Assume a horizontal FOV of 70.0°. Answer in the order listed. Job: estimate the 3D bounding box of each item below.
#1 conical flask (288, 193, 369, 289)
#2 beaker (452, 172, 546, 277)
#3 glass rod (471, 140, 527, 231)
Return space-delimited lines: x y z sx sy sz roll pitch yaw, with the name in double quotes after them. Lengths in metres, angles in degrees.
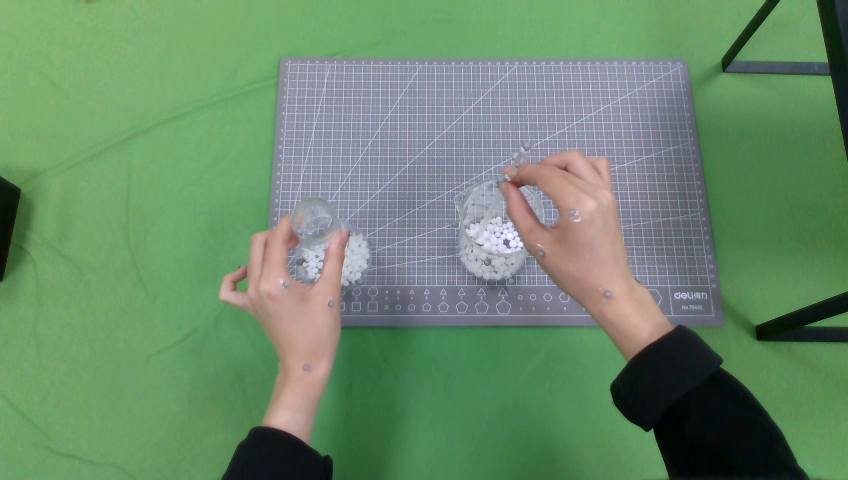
-0.092 -0.003 0.548 0.075 0.122 0.075 0 72 0 "conical flask"
0.063 -0.011 0.563 0.084 0.101 0.073 23 74 8 "beaker"
0.058 -0.039 0.505 0.008 0.200 0.008 2 74 -5 "glass rod"
